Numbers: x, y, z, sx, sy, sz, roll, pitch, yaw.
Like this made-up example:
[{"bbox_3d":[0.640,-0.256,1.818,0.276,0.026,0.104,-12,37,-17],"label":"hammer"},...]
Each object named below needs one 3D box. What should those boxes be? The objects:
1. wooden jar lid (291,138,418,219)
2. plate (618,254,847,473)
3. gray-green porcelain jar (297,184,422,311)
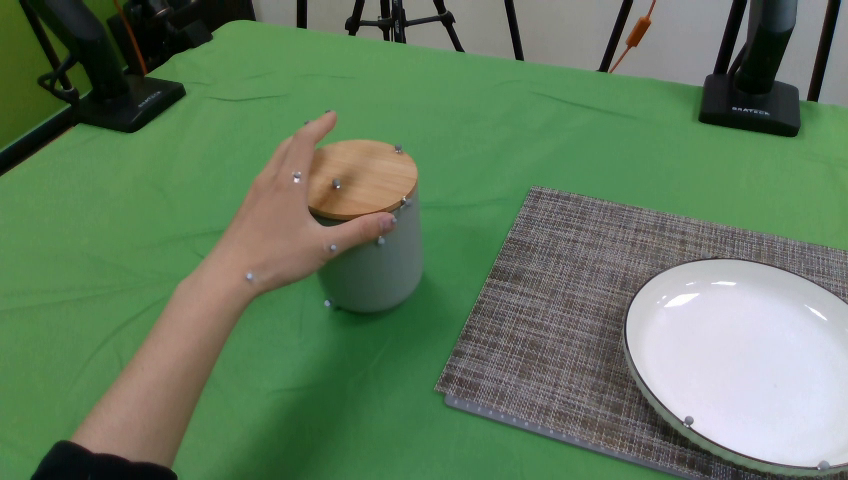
[{"bbox_3d":[-0.059,-0.051,0.523,0.108,0.021,0.107,1,43,0],"label":"wooden jar lid"},{"bbox_3d":[0.265,0.097,0.500,0.207,0.039,0.205,-2,43,2],"label":"plate"},{"bbox_3d":[-0.056,-0.005,0.567,0.106,0.127,0.105,-2,44,2],"label":"gray-green porcelain jar"}]
